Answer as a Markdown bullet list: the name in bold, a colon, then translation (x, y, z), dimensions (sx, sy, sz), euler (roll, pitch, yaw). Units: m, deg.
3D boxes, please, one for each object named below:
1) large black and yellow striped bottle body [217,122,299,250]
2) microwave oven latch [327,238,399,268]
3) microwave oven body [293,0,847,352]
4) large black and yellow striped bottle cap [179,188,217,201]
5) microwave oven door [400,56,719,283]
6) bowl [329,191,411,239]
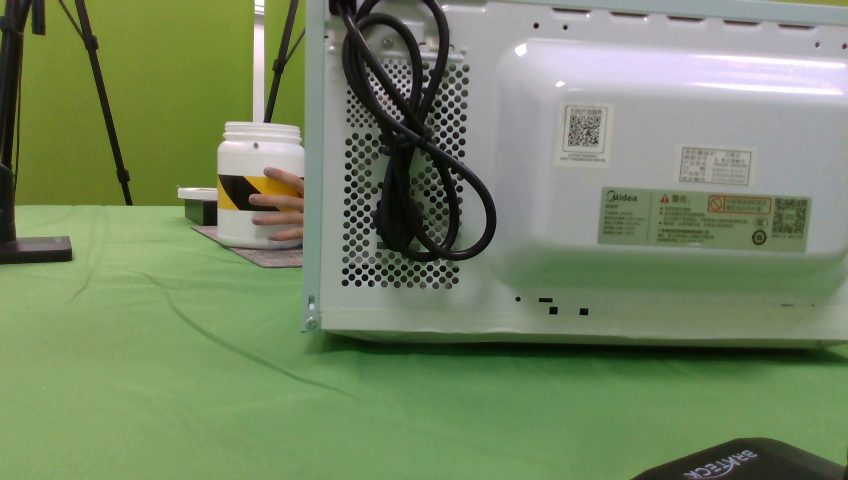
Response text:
- **large black and yellow striped bottle body**: translation (-0.250, -0.084, 0.931), dimensions (0.131, 0.184, 0.130), euler (3, 7, 0)
- **microwave oven latch**: translation (-0.069, 0.015, 0.694), dimensions (0.079, 0.029, 0.030), euler (3, 7, -3)
- **microwave oven body**: translation (0.122, -0.055, 0.550), dimensions (0.442, 0.260, 0.325), euler (3, 7, -5)
- **large black and yellow striped bottle cap**: translation (-0.434, -0.093, 1.226), dimensions (0.115, 0.019, 0.115), euler (3, 9, 0)
- **microwave oven door**: translation (0.155, -0.077, 0.698), dimensions (0.356, 0.243, 0.039), euler (2, 8, -5)
- **bowl**: translation (-0.099, -0.045, 1.104), dimensions (0.151, 0.077, 0.151), euler (3, 8, 0)
